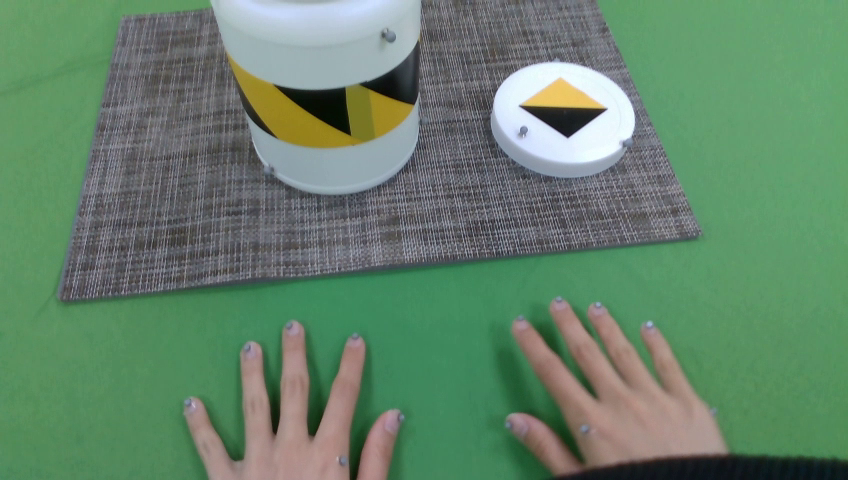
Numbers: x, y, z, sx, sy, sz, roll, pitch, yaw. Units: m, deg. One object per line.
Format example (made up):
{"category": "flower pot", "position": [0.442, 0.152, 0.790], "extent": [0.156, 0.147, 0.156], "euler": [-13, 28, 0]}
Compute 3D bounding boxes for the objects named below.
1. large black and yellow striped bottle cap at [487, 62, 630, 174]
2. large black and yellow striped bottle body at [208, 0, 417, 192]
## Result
{"category": "large black and yellow striped bottle cap", "position": [0.110, -0.102, 0.495], "extent": [0.115, 0.019, 0.114], "euler": [2, 55, -2]}
{"category": "large black and yellow striped bottle body", "position": [-0.069, -0.136, 0.410], "extent": [0.131, 0.185, 0.129], "euler": [1, 56, -1]}
